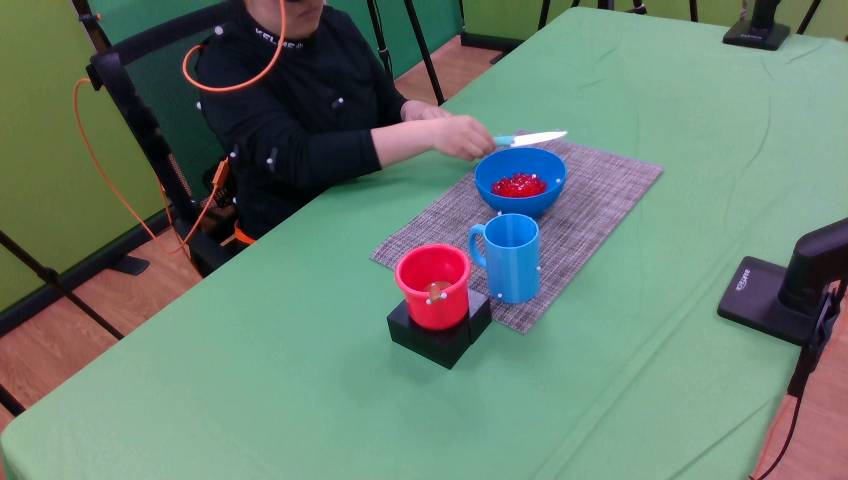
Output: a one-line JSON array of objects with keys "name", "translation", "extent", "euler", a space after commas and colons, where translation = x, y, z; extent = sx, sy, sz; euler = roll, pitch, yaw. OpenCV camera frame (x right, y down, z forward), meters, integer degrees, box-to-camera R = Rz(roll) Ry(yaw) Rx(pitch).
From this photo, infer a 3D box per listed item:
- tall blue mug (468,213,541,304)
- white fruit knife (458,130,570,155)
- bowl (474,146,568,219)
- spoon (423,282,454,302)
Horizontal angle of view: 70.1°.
[{"name": "tall blue mug", "translation": [0.111, 0.026, 0.856], "extent": [0.107, 0.108, 0.077], "euler": [2, 42, 13]}, {"name": "white fruit knife", "translation": [0.165, -0.184, 1.119], "extent": [0.207, 0.016, 0.027], "euler": [-7, 65, 7]}, {"name": "bowl", "translation": [0.161, -0.083, 1.001], "extent": [0.151, 0.077, 0.150], "euler": [-5, 40, 5]}, {"name": "spoon", "translation": [0.015, 0.062, 0.733], "extent": [0.041, 0.021, 0.194], "euler": [-5, -4, 3]}]
